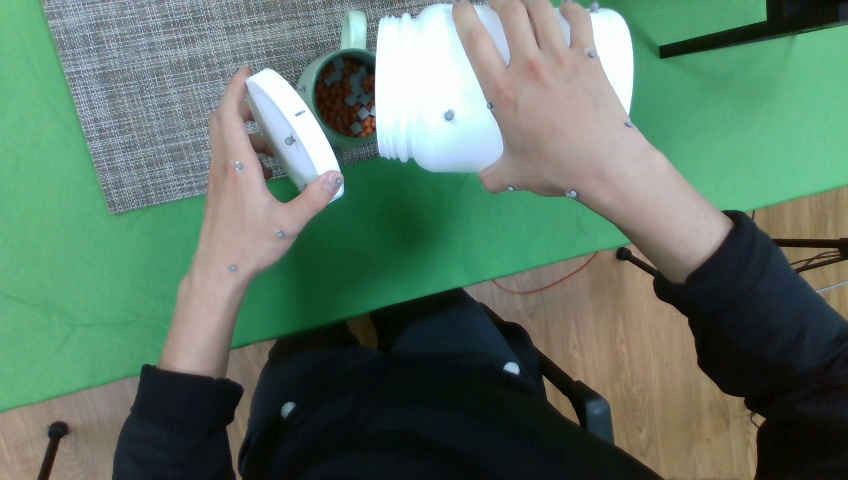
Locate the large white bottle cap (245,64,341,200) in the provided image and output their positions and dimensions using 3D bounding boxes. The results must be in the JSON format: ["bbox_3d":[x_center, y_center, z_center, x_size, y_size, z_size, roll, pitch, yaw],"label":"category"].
[{"bbox_3d":[-0.106,-0.085,0.489,0.018,0.114,0.115,-35,107,-18],"label":"large white bottle cap"}]

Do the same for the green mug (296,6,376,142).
[{"bbox_3d":[-0.071,-0.156,0.575,0.093,0.104,0.125,3,99,-16],"label":"green mug"}]

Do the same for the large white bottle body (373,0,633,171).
[{"bbox_3d":[0.057,-0.122,0.483,0.184,0.130,0.131,2,100,1],"label":"large white bottle body"}]
